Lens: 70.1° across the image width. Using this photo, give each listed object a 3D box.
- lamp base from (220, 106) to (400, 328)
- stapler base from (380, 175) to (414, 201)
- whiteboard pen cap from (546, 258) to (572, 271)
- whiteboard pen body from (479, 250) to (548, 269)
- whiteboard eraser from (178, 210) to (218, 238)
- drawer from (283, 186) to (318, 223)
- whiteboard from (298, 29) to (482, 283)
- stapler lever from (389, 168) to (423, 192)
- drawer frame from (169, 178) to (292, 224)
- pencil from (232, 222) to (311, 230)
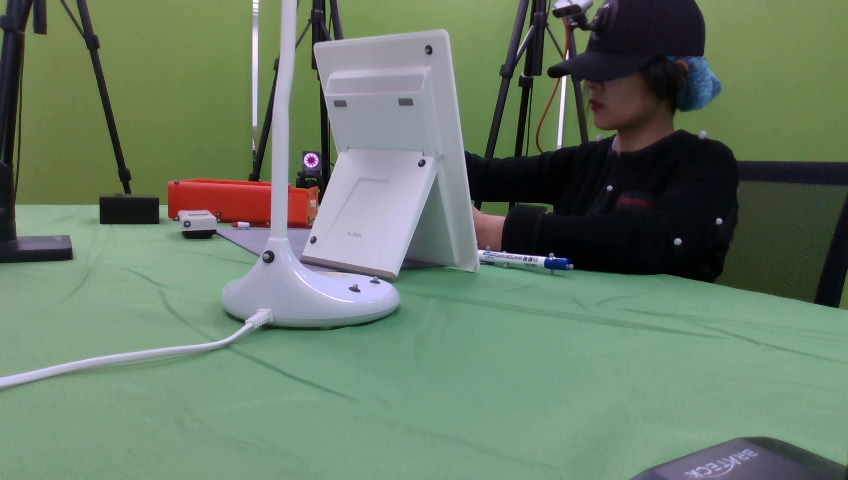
[{"bbox_3d":[-0.101,-0.023,0.531,0.160,0.180,0.179,4,10,10],"label":"lamp base"},{"bbox_3d":[-0.045,-0.100,1.105,0.041,0.024,0.130,41,-2,-23],"label":"stapler base"},{"bbox_3d":[0.175,0.032,0.790,0.033,0.018,0.018,3,6,37],"label":"whiteboard pen cap"},{"bbox_3d":[0.130,0.028,0.827,0.140,0.017,0.017,6,8,38],"label":"whiteboard pen body"},{"bbox_3d":[-0.380,-0.027,1.014,0.056,0.042,0.112,0,8,-25],"label":"whiteboard eraser"},{"bbox_3d":[-0.342,-0.083,1.309,0.212,0.073,0.194,2,8,-4],"label":"drawer"},{"bbox_3d":[-0.075,-0.082,0.741,0.216,0.305,0.144,9,29,37],"label":"whiteboard"},{"bbox_3d":[-0.033,-0.116,1.106,0.027,0.040,0.117,41,3,-23],"label":"stapler lever"},{"bbox_3d":[-0.406,-0.087,1.304,0.214,0.082,0.201,1,8,-5],"label":"drawer frame"},{"bbox_3d":[-0.261,-0.025,1.141,0.195,0.012,0.012,2,7,-26],"label":"pencil"}]
